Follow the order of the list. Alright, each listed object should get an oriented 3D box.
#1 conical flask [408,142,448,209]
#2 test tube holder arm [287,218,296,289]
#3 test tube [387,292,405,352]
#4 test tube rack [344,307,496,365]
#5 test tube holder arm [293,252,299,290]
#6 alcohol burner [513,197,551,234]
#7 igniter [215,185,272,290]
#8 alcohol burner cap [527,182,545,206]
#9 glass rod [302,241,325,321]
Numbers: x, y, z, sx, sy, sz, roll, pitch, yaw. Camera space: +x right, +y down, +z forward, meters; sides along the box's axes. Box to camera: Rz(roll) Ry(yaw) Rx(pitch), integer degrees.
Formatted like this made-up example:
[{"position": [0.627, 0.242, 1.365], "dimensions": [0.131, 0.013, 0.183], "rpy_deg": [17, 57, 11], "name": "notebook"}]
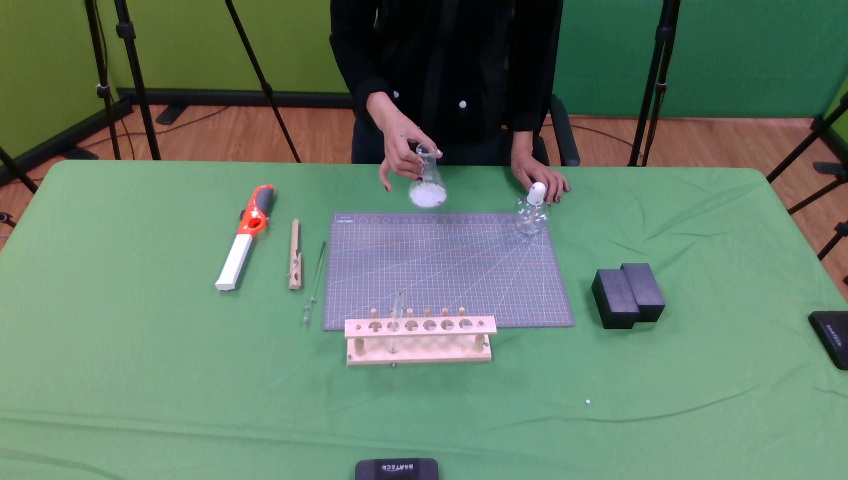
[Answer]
[{"position": [0.006, -0.122, 1.121], "dimensions": [0.075, 0.122, 0.075], "rpy_deg": [-1, 46, 2], "name": "conical flask"}, {"position": [-0.253, 0.022, 1.158], "dimensions": [0.013, 0.015, 0.177], "rpy_deg": [23, 36, -34], "name": "test tube holder arm"}, {"position": [-0.045, 0.133, 0.955], "dimensions": [0.017, 0.151, 0.017], "rpy_deg": [5, 47, -5], "name": "test tube"}, {"position": [-0.009, 0.154, 1.007], "dimensions": [0.242, 0.085, 0.066], "rpy_deg": [-1, 46, -5], "name": "test tube rack"}, {"position": [-0.241, 0.056, 1.131], "dimensions": [0.010, 0.015, 0.087], "rpy_deg": [24, 35, -33], "name": "test tube holder arm"}, {"position": [0.220, -0.069, 1.217], "dimensions": [0.078, 0.119, 0.077], "rpy_deg": [3, 47, -3], "name": "alcohol burner"}, {"position": [-0.347, -0.014, 1.182], "dimensions": [0.057, 0.025, 0.275], "rpy_deg": [-1, 45, 8], "name": "igniter"}, {"position": [0.222, -0.092, 1.190], "dimensions": [0.034, 0.048, 0.033], "rpy_deg": [2, 54, -3], "name": "alcohol burner cap"}, {"position": [-0.204, 0.071, 1.124], "dimensions": [0.008, 0.008, 0.198], "rpy_deg": [4, 44, 0], "name": "glass rod"}]
